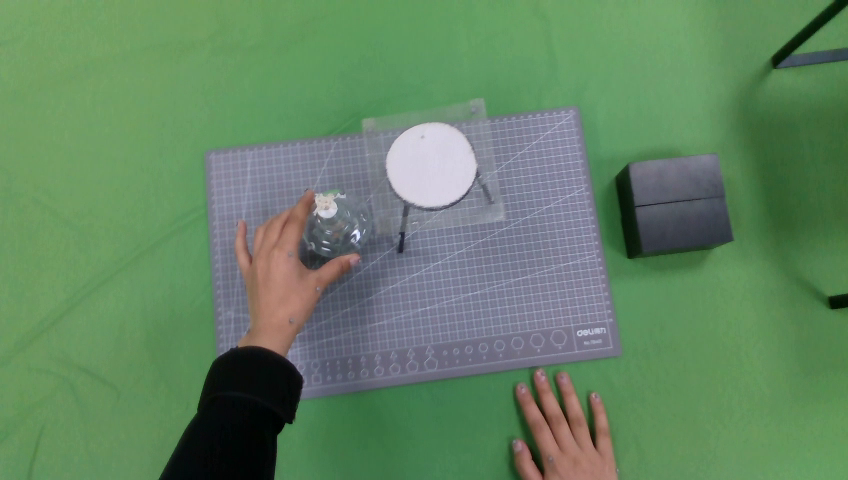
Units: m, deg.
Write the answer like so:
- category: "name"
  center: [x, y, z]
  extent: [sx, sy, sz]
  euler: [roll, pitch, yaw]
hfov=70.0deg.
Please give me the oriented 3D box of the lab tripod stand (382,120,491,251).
- category: "lab tripod stand"
  center: [0.002, -0.063, 0.646]
  extent: [0.148, 0.132, 0.147]
  euler: [0, 79, 2]

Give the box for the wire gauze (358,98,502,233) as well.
- category: "wire gauze"
  center: [0.004, -0.071, 0.579]
  extent: [0.125, 0.011, 0.121]
  euler: [-8, 79, -1]

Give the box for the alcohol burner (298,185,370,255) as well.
- category: "alcohol burner"
  center: [-0.098, -0.025, 0.646]
  extent: [0.078, 0.119, 0.077]
  euler: [0, 79, 0]
